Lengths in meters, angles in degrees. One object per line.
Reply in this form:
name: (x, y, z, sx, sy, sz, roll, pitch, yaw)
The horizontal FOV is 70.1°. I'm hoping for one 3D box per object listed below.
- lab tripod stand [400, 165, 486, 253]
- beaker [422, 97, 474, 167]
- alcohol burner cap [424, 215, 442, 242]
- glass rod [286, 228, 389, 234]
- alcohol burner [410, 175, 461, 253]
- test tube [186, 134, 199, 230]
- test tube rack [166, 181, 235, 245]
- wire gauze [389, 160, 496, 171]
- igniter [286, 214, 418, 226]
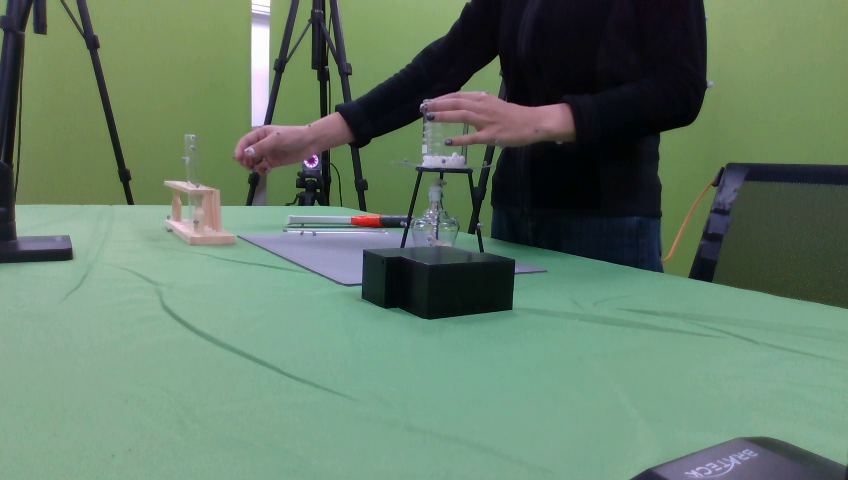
lab tripod stand: (0.027, -0.049, 0.930, 0.148, 0.131, 0.148, 2, 9, 0)
beaker: (0.032, -0.162, 0.918, 0.074, 0.100, 0.083, -4, 10, -36)
alcohol burner cap: (0.017, -0.022, 1.098, 0.034, 0.048, 0.034, 2, 8, 0)
glass rod: (-0.153, -0.016, 1.101, 0.201, 0.008, 0.008, 1, 6, -30)
alcohol burner: (0.018, -0.040, 0.931, 0.078, 0.119, 0.078, 0, 7, 0)
test tube: (-0.360, -0.089, 0.946, 0.017, 0.150, 0.017, 0, 10, 0)
test tube rack: (-0.383, -0.051, 1.024, 0.067, 0.085, 0.241, -2, 9, -31)
wire gauze: (0.028, -0.114, 0.920, 0.122, 0.011, 0.124, -5, 12, -34)
igniter: (-0.146, -0.043, 1.263, 0.278, 0.025, 0.057, -1, -2, -24)
